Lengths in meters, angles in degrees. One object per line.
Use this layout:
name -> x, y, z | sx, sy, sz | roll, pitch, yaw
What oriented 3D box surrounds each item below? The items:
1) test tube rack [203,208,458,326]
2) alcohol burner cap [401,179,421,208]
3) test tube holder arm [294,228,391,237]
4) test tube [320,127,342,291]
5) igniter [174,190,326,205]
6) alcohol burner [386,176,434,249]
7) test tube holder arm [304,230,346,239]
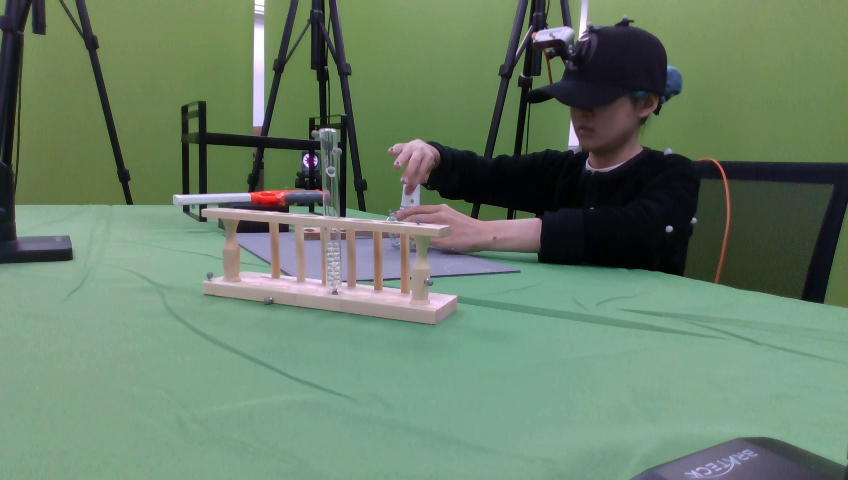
test tube rack -> -0.090, 0.019, 0.579 | 0.241, 0.085, 0.067 | 5, 7, 19
alcohol burner cap -> -0.020, -0.074, 0.970 | 0.034, 0.048, 0.034 | 3, 7, 0
test tube holder arm -> -0.138, -0.013, 1.054 | 0.179, 0.015, 0.013 | -1, 42, -32
test tube -> -0.085, -0.027, 0.554 | 0.017, 0.150, 0.017 | -1, 6, 0
igniter -> -0.317, -0.079, 1.131 | 0.278, 0.025, 0.057 | -4, 13, -32
alcohol burner -> -0.022, -0.044, 0.976 | 0.078, 0.119, 0.078 | 3, 7, 0
test tube holder arm -> -0.174, -0.009, 1.026 | 0.088, 0.015, 0.010 | 0, 42, -31
